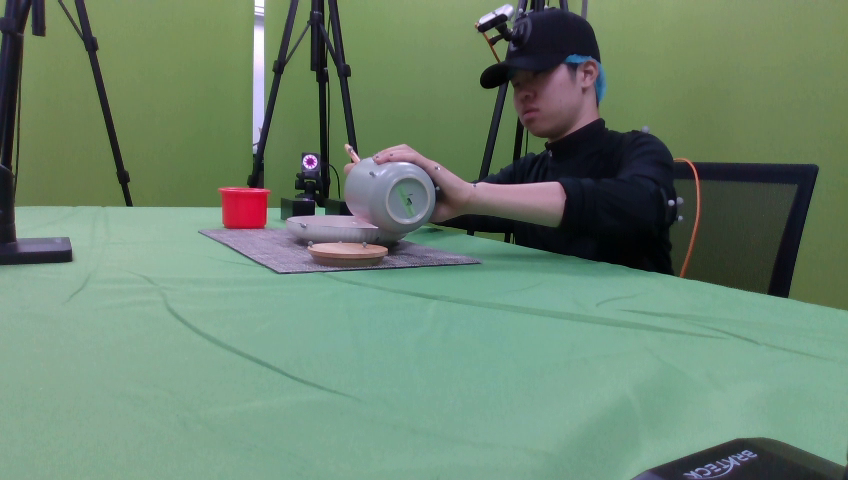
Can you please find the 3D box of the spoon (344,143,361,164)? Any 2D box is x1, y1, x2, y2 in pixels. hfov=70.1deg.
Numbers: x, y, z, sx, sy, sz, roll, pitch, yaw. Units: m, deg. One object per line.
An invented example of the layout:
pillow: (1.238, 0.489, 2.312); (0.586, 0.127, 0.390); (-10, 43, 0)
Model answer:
spoon: (-0.089, -0.109, 0.967); (0.042, 0.021, 0.192); (4, 28, -39)

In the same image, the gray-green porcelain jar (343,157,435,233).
gray-green porcelain jar: (-0.051, -0.068, 0.901); (0.106, 0.106, 0.126); (-1, 11, -27)

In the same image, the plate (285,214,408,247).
plate: (-0.127, -0.015, 1.012); (0.208, 0.039, 0.207); (3, 7, 0)

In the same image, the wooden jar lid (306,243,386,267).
wooden jar lid: (-0.105, 0.020, 0.816); (0.108, 0.020, 0.108); (1, 7, 0)
